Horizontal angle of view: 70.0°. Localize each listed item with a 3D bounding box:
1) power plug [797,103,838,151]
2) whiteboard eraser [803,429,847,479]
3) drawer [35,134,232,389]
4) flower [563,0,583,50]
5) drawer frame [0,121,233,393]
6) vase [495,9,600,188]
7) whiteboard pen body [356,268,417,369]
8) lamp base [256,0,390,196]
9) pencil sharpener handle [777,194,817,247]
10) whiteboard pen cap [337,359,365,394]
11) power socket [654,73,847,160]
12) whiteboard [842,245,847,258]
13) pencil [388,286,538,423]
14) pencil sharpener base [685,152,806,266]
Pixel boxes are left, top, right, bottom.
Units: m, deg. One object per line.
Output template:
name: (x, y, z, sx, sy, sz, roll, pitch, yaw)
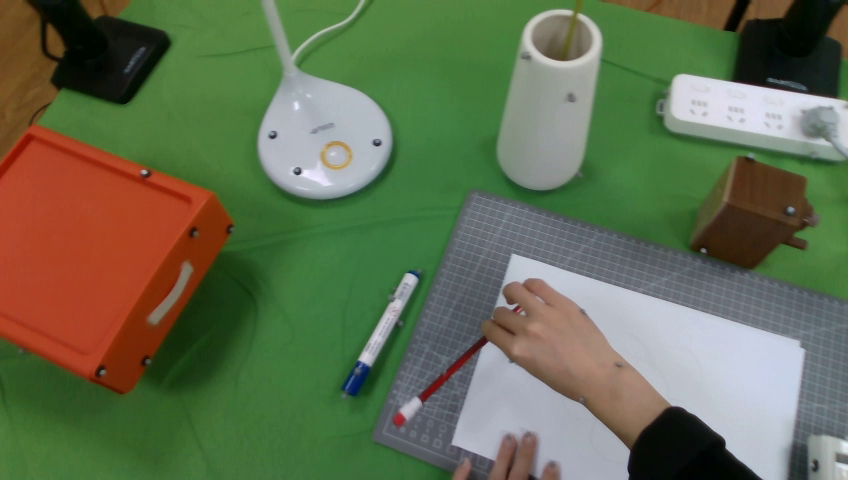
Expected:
power plug: (0.432, -0.121, 0.673, 0.035, 0.053, 0.072, 22, 69, 13)
whiteboard eraser: (0.361, 0.226, 0.527, 0.055, 0.042, 0.112, 13, 65, 7)
drawer: (-0.330, 0.012, 0.588, 0.211, 0.074, 0.193, 21, 68, 11)
flower: (0.135, -0.188, 0.559, 0.038, 0.364, 0.043, 6, 46, -2)
drawer frame: (-0.336, 0.012, 0.590, 0.213, 0.083, 0.200, 21, 68, 9)
vase: (0.126, -0.139, 0.627, 0.098, 0.201, 0.097, -1, 63, 3)
whiteboard pen body: (-0.043, 0.087, 0.622, 0.017, 0.017, 0.140, 22, 64, 13)
lamp base: (-0.131, -0.166, 0.660, 0.160, 0.182, 0.177, -33, 64, -13)
pencil sharpener handle: (0.372, -0.016, 0.596, 0.030, 0.068, 0.036, 20, 65, 12)
whiteboard pen cap: (-0.071, 0.133, 0.597, 0.018, 0.018, 0.033, 22, 62, 13)
power socket: (0.390, -0.146, 0.713, 0.226, 0.033, 0.072, 12, 66, 8)
whiteboard: (0.583, 0.024, 0.507, 0.144, 0.307, 0.215, -3, 62, -20)
pencil: (0.042, 0.100, 0.558, 0.194, 0.012, 0.012, -38, 68, -23)
pencil sharpener base: (0.326, -0.028, 0.617, 0.076, 0.108, 0.061, 20, 66, 11)
